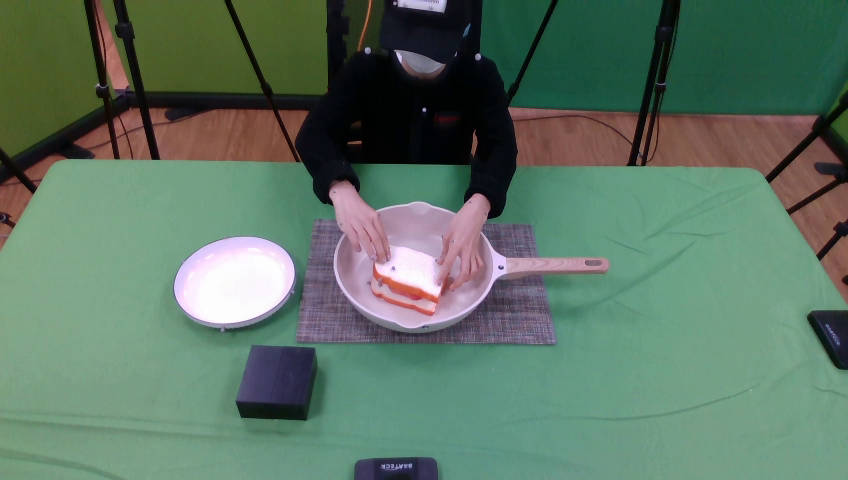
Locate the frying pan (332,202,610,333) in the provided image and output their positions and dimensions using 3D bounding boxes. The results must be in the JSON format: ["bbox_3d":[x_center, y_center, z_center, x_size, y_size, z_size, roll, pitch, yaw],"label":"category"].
[{"bbox_3d":[0.085,0.052,1.093,0.488,0.103,0.305,-1,46,6],"label":"frying pan"}]

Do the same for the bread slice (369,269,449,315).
[{"bbox_3d":[-0.031,0.082,1.109,0.134,0.018,0.106,11,45,7],"label":"bread slice"}]

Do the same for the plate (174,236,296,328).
[{"bbox_3d":[-0.335,0.077,1.087,0.208,0.039,0.206,2,46,-2],"label":"plate"}]

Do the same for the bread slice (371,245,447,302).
[{"bbox_3d":[-0.028,0.054,1.072,0.131,0.019,0.104,17,39,-1],"label":"bread slice"}]
